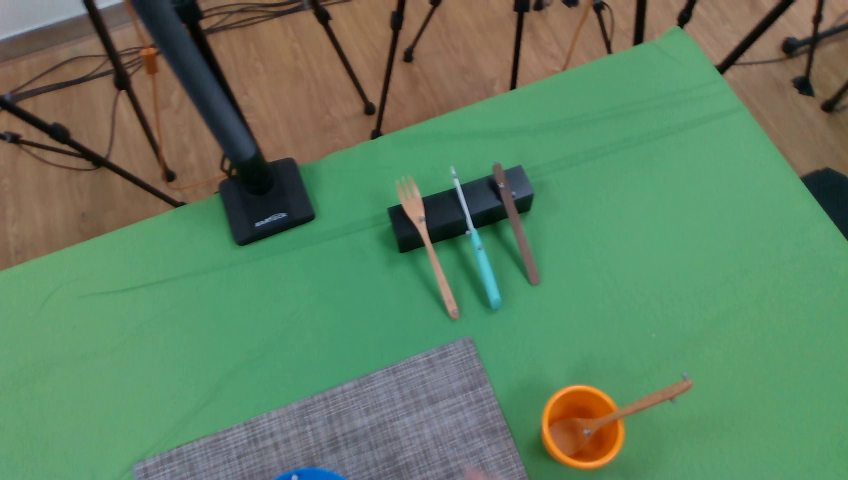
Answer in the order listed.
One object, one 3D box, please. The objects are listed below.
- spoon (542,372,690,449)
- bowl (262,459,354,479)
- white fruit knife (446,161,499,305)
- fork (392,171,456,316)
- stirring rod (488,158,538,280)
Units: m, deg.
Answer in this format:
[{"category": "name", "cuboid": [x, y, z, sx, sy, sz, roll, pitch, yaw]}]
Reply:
[{"category": "spoon", "cuboid": [0.214, 0.194, 0.689, 0.022, 0.194, 0.041, 6, 55, -45]}, {"category": "bowl", "cuboid": [-0.126, 0.328, 0.676, 0.151, 0.077, 0.150, -1, 65, 2]}, {"category": "white fruit knife", "cuboid": [0.062, -0.011, 0.822, 0.016, 0.027, 0.206, -18, 82, -9]}, {"category": "fork", "cuboid": [0.002, 0.006, 0.818, 0.028, 0.018, 0.207, -21, 86, -9]}, {"category": "stirring rod", "cuboid": [0.122, -0.028, 0.831, 0.014, 0.006, 0.176, -19, 92, 1]}]
